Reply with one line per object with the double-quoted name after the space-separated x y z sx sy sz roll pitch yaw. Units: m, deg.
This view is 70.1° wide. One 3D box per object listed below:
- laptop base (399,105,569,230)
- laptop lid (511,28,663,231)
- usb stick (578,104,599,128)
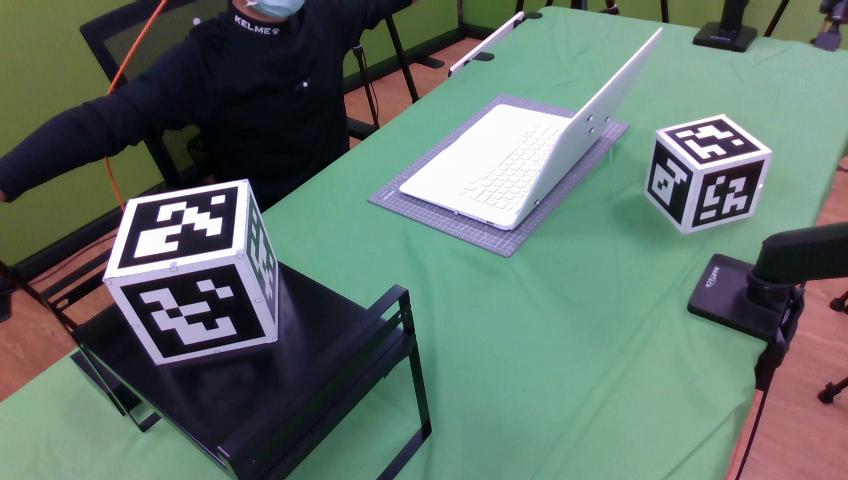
0.149 -0.147 1.123 0.233 0.023 0.355 20 47 32 "laptop base"
0.265 -0.179 0.972 0.013 0.242 0.357 36 53 14 "laptop lid"
0.322 -0.242 1.189 0.021 0.027 0.059 24 53 29 "usb stick"
